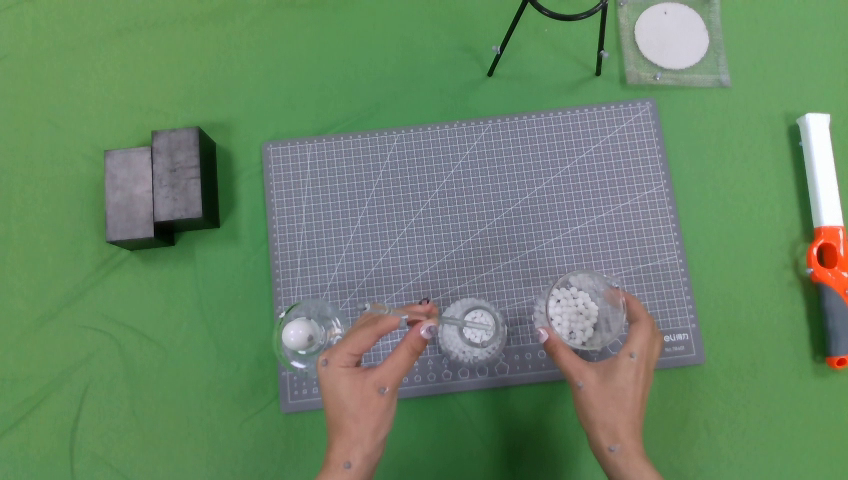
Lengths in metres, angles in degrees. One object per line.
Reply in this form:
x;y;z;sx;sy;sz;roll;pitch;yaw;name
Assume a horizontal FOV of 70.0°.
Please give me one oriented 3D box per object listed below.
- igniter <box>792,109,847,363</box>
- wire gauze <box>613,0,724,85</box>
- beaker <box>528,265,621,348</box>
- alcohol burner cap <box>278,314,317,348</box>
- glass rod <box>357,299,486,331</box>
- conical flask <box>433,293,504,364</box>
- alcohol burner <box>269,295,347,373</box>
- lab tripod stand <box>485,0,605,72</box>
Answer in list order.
0.432;-0.008;0.654;0.057;0.025;0.275;1;80;-10;igniter
0.285;-0.239;0.705;0.125;0.011;0.121;-1;81;-2;wire gauze
0.147;0.067;0.603;0.084;0.100;0.074;-41;82;-7;beaker
-0.118;0.084;0.558;0.034;0.048;0.034;0;83;-3;alcohol burner cap
0.007;0.061;0.477;0.008;0.201;0.008;-7;75;28;glass rod
0.046;0.084;0.590;0.075;0.122;0.075;0;79;1;conical flask
-0.117;0.091;0.594;0.078;0.119;0.077;0;79;3;alcohol burner
0.133;-0.241;0.643;0.148;0.132;0.148;0;82;1;lab tripod stand
